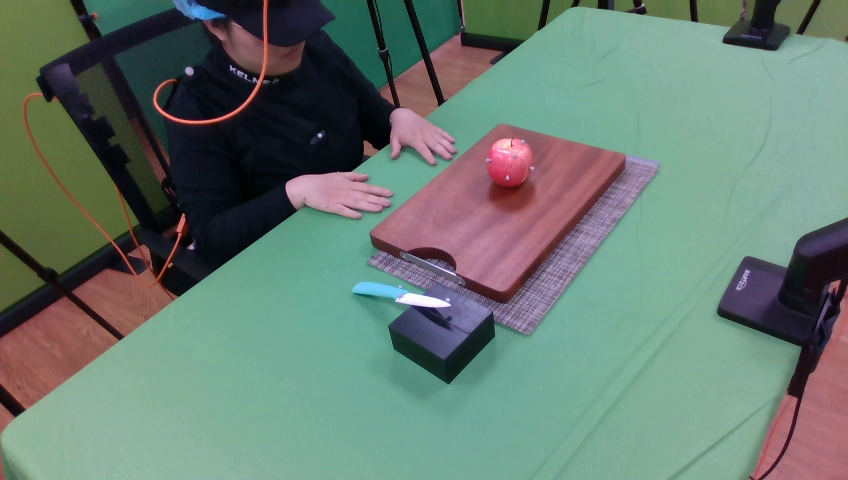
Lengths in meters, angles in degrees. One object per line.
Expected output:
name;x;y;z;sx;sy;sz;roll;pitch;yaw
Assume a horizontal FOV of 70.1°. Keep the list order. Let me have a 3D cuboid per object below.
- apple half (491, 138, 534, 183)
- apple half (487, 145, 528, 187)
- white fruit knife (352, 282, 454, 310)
apple half;0.156;-0.139;1.038;0.080;0.075;0.053;16;42;32
apple half;0.134;-0.118;1.014;0.080;0.081;0.033;18;44;29
white fruit knife;-0.031;0.079;0.856;0.205;0.016;0.027;6;38;47
